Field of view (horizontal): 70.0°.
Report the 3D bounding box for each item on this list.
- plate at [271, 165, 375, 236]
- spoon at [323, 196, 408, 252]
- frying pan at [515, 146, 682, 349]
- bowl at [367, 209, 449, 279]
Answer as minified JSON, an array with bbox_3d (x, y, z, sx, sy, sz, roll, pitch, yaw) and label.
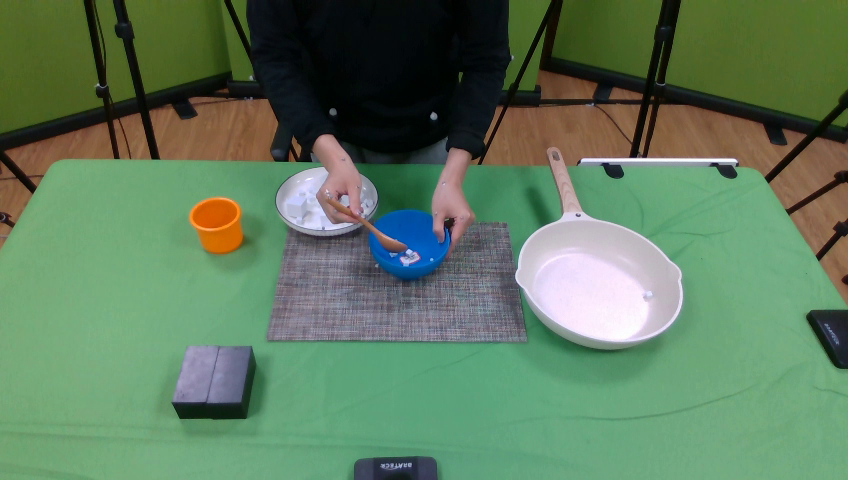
[{"bbox_3d":[-0.204,-0.076,1.240,0.208,0.039,0.206,3,44,-2],"label":"plate"},{"bbox_3d":[-0.101,-0.025,1.058,0.041,0.195,0.021,-20,45,39],"label":"spoon"},{"bbox_3d":[0.303,-0.004,1.168,0.307,0.103,0.484,-1,55,-7],"label":"frying pan"},{"bbox_3d":[-0.031,0.020,1.132,0.151,0.077,0.150,2,46,-2],"label":"bowl"}]
